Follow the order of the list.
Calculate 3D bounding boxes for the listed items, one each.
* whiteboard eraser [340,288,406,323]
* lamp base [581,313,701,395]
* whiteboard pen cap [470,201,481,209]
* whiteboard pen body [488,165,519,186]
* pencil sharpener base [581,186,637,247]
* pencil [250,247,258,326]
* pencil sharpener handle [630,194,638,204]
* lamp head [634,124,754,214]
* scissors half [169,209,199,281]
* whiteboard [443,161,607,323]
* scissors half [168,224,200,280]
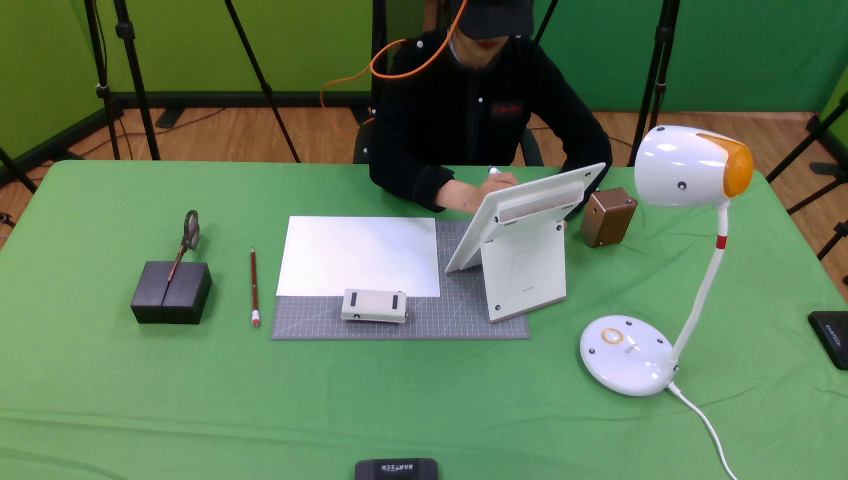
[{"bbox_3d":[-0.088,0.117,1.060,0.113,0.042,0.055,3,45,-1],"label":"whiteboard eraser"},{"bbox_3d":[0.361,0.144,0.973,0.178,0.181,0.160,34,53,23],"label":"lamp base"},{"bbox_3d":[0.113,-0.073,1.279,0.033,0.018,0.018,4,46,6],"label":"whiteboard pen cap"},{"bbox_3d":[0.163,-0.096,1.076,0.017,0.017,0.140,-26,46,-26],"label":"whiteboard pen body"},{"bbox_3d":[0.369,-0.047,1.209,0.077,0.107,0.061,-11,47,-15],"label":"pencil sharpener base"},{"bbox_3d":[-0.312,0.079,1.107,0.012,0.012,0.192,-7,46,-11],"label":"pencil"},{"bbox_3d":[0.417,-0.068,1.215,0.031,0.068,0.036,-11,60,-14],"label":"pencil sharpener handle"},{"bbox_3d":[0.351,-0.089,0.776,0.112,0.113,0.122,-30,30,-28],"label":"lamp head"},{"bbox_3d":[-0.437,0.007,1.098,0.013,0.040,0.174,3,48,-3],"label":"scissors half"},{"bbox_3d":[0.185,0.025,1.029,0.217,0.306,0.143,-15,68,-18],"label":"whiteboard"},{"bbox_3d":[-0.440,0.023,1.111,0.013,0.040,0.174,8,29,-6],"label":"scissors half"}]
